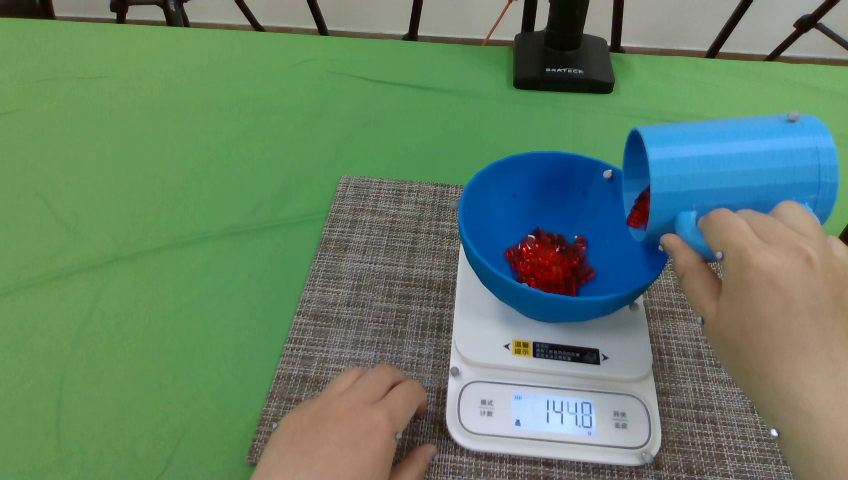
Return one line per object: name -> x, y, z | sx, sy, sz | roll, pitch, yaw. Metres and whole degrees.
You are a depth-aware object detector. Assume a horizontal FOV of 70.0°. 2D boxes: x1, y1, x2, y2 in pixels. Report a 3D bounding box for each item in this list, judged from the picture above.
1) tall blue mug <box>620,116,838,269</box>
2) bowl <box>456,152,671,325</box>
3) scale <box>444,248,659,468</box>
tall blue mug -> 0.190, -0.033, 0.379 | 0.108, 0.078, 0.107 | -3, 14, 5
bowl -> 0.096, 0.011, 0.453 | 0.151, 0.077, 0.150 | 1, 47, -1
scale -> 0.096, 0.070, 0.470 | 0.148, 0.032, 0.199 | 5, 47, 4
